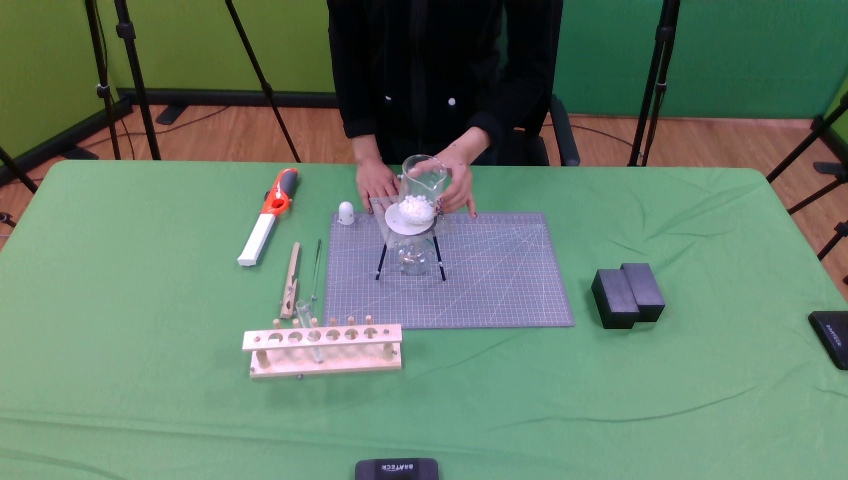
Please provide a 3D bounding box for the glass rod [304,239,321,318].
[{"bbox_3d":[-0.207,0.068,1.127,0.008,0.008,0.198,2,43,-2],"label":"glass rod"}]

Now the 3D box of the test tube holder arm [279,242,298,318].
[{"bbox_3d":[-0.248,0.069,1.114,0.013,0.015,0.177,25,38,-26],"label":"test tube holder arm"}]

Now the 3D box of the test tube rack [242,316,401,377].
[{"bbox_3d":[-0.161,0.166,0.983,0.242,0.085,0.066,-2,46,-6],"label":"test tube rack"}]

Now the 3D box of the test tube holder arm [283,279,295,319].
[{"bbox_3d":[-0.241,0.103,1.085,0.010,0.015,0.087,25,38,-26],"label":"test tube holder arm"}]

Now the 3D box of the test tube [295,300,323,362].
[{"bbox_3d":[-0.176,0.143,0.935,0.017,0.151,0.017,-2,46,2],"label":"test tube"}]

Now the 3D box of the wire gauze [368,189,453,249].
[{"bbox_3d":[-0.025,-0.042,1.064,0.121,0.011,0.124,-11,48,-16],"label":"wire gauze"}]

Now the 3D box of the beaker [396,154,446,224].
[{"bbox_3d":[-0.007,-0.081,1.021,0.074,0.101,0.083,-7,48,-18],"label":"beaker"}]

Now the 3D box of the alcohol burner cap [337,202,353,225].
[{"bbox_3d":[-0.161,-0.056,1.223,0.034,0.048,0.033,2,46,-2],"label":"alcohol burner cap"}]

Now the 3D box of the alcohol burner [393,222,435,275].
[{"bbox_3d":[-0.018,0.009,1.122,0.078,0.119,0.077,3,47,-3],"label":"alcohol burner"}]

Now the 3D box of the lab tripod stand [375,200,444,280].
[{"bbox_3d":[-0.023,0.004,1.114,0.148,0.132,0.147,4,45,-3],"label":"lab tripod stand"}]

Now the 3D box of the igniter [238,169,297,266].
[{"bbox_3d":[-0.313,-0.055,1.224,0.057,0.025,0.275,1,45,10],"label":"igniter"}]
